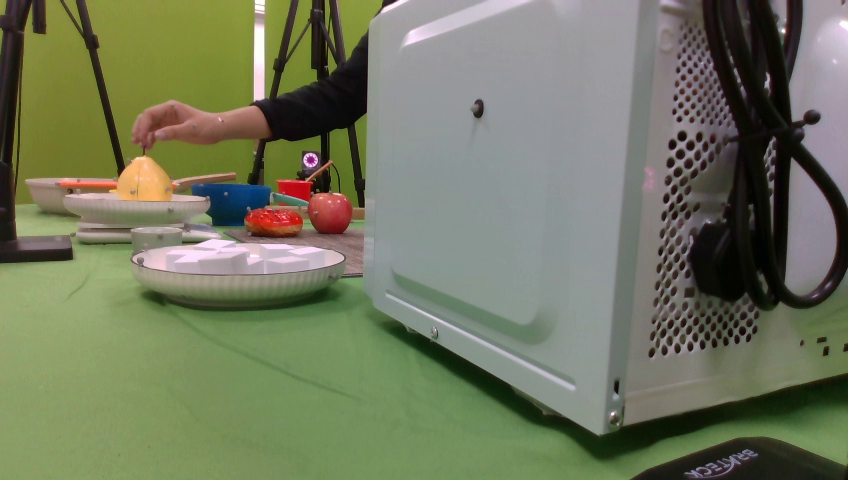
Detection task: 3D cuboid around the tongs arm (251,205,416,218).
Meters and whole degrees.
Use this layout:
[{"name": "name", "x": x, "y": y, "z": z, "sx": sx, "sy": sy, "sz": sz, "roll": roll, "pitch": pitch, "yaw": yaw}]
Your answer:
[{"name": "tongs arm", "x": -0.209, "y": -0.068, "z": 1.439, "sx": 0.389, "sy": 0.027, "sz": 0.028, "roll": 0, "pitch": -1, "yaw": -16}]

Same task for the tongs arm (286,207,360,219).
[{"name": "tongs arm", "x": -0.173, "y": -0.061, "z": 1.362, "sx": 0.387, "sy": 0.026, "sz": 0.050, "roll": -1, "pitch": 3, "yaw": -31}]

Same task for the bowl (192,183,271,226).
[{"name": "bowl", "x": -0.382, "y": -0.071, "z": 1.202, "sx": 0.151, "sy": 0.077, "sz": 0.151, "roll": 3, "pitch": 7, "yaw": 0}]

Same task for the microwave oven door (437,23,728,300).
[{"name": "microwave oven door", "x": 0.180, "y": -0.072, "z": 0.621, "sx": 0.358, "sy": 0.243, "sz": 0.039, "roll": -2, "pitch": 9, "yaw": -29}]

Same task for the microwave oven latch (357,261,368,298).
[{"name": "microwave oven latch", "x": -0.019, "y": 0.033, "z": 0.530, "sx": 0.079, "sy": 0.029, "sz": 0.030, "roll": -1, "pitch": 7, "yaw": -26}]

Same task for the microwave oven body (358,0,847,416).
[{"name": "microwave oven body", "x": 0.211, "y": -0.047, "z": 0.474, "sx": 0.444, "sy": 0.260, "sz": 0.324, "roll": -1, "pitch": 7, "yaw": -28}]

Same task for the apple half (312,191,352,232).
[{"name": "apple half", "x": -0.160, "y": -0.050, "z": 1.101, "sx": 0.053, "sy": 0.074, "sz": 0.081, "roll": 9, "pitch": 8, "yaw": 23}]

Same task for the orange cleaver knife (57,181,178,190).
[{"name": "orange cleaver knife", "x": -0.600, "y": -0.109, "z": 1.189, "sx": 0.212, "sy": 0.012, "sz": 0.077, "roll": -1, "pitch": 11, "yaw": -26}]

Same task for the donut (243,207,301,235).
[{"name": "donut", "x": -0.262, "y": -0.032, "z": 1.043, "sx": 0.099, "sy": 0.048, "sz": 0.099, "roll": 4, "pitch": 9, "yaw": 0}]

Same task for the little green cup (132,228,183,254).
[{"name": "little green cup", "x": -0.342, "y": 0.006, "z": 0.779, "sx": 0.061, "sy": 0.038, "sz": 0.061, "roll": 2, "pitch": 8, "yaw": 0}]

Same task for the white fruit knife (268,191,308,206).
[{"name": "white fruit knife", "x": -0.364, "y": -0.105, "z": 1.464, "sx": 0.208, "sy": 0.027, "sz": 0.016, "roll": 15, "pitch": 0, "yaw": -34}]

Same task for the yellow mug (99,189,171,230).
[{"name": "yellow mug", "x": -0.519, "y": -0.055, "z": 1.080, "sx": 0.099, "sy": 0.064, "sz": 0.131, "roll": 7, "pitch": 9, "yaw": 26}]

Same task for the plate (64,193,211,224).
[{"name": "plate", "x": -0.446, "y": -0.051, "z": 0.951, "sx": 0.209, "sy": 0.038, "sz": 0.209, "roll": 2, "pitch": 7, "yaw": 0}]

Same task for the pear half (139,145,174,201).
[{"name": "pear half", "x": -0.423, "y": -0.094, "z": 0.949, "sx": 0.056, "sy": 0.110, "sz": 0.076, "roll": -3, "pitch": 12, "yaw": -33}]

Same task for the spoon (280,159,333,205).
[{"name": "spoon", "x": -0.317, "y": -0.159, "z": 1.640, "sx": 0.194, "sy": 0.022, "sz": 0.041, "roll": -49, "pitch": 32, "yaw": -20}]

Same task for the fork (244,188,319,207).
[{"name": "fork", "x": -0.356, "y": -0.105, "z": 1.526, "sx": 0.208, "sy": 0.018, "sz": 0.028, "roll": 16, "pitch": -5, "yaw": -41}]

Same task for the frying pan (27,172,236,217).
[{"name": "frying pan", "x": -0.624, "y": -0.118, "z": 1.387, "sx": 0.305, "sy": 0.102, "sz": 0.490, "roll": 8, "pitch": 17, "yaw": 32}]

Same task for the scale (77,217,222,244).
[{"name": "scale", "x": -0.434, "y": -0.018, "z": 0.963, "sx": 0.202, "sy": 0.031, "sz": 0.148, "roll": -1, "pitch": 8, "yaw": -27}]

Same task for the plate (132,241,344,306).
[{"name": "plate", "x": -0.187, "y": 0.033, "z": 0.625, "sx": 0.208, "sy": 0.039, "sz": 0.207, "roll": 2, "pitch": 7, "yaw": 0}]

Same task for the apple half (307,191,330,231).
[{"name": "apple half", "x": -0.197, "y": -0.055, "z": 1.115, "sx": 0.032, "sy": 0.081, "sz": 0.081, "roll": 9, "pitch": 9, "yaw": 20}]

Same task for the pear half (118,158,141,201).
[{"name": "pear half", "x": -0.454, "y": -0.083, "z": 0.932, "sx": 0.031, "sy": 0.088, "sz": 0.070, "roll": -2, "pitch": 11, "yaw": -35}]
